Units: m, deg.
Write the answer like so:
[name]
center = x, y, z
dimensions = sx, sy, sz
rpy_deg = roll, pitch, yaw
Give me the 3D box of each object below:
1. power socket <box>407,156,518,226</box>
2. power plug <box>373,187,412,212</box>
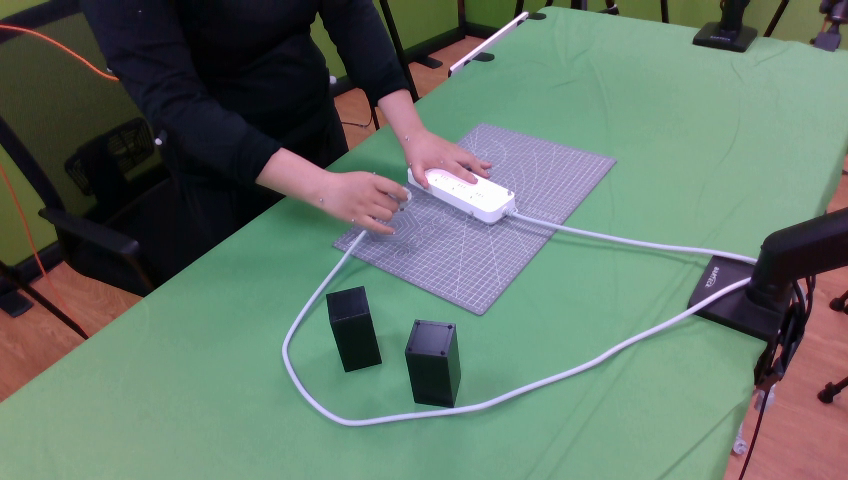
[power socket]
center = 0.061, -0.089, 1.054
dimensions = 0.072, 0.033, 0.225
rpy_deg = -36, 48, -29
[power plug]
center = -0.054, -0.059, 0.963
dimensions = 0.073, 0.053, 0.035
rpy_deg = -28, 60, -15
